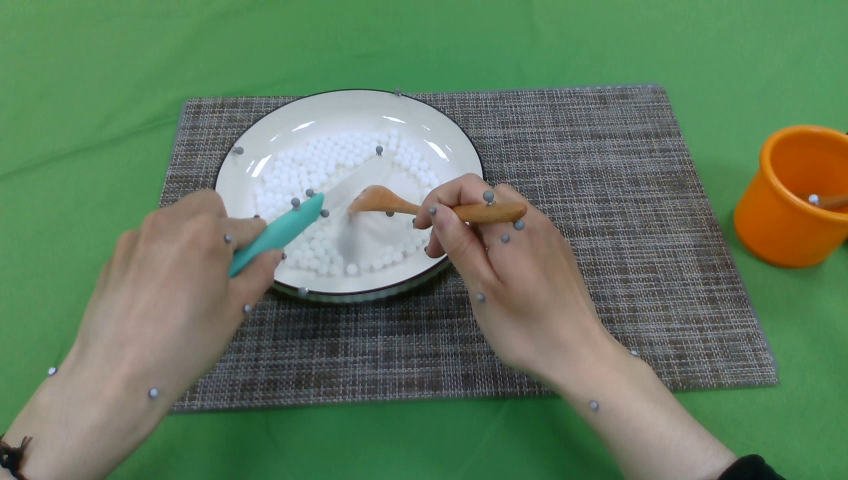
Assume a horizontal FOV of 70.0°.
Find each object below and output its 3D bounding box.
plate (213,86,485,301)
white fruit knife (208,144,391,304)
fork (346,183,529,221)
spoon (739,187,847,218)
[{"bbox_3d":[-0.056,-0.039,0.478,0.209,0.038,0.207,0,55,0],"label":"plate"},{"bbox_3d":[-0.080,-0.025,0.443,0.016,0.027,0.207,21,42,20],"label":"white fruit knife"},{"bbox_3d":[-0.003,-0.023,0.395,0.028,0.019,0.205,-50,30,-19],"label":"fork"},{"bbox_3d":[0.311,-0.029,0.414,0.041,0.192,0.022,-31,104,-25],"label":"spoon"}]
